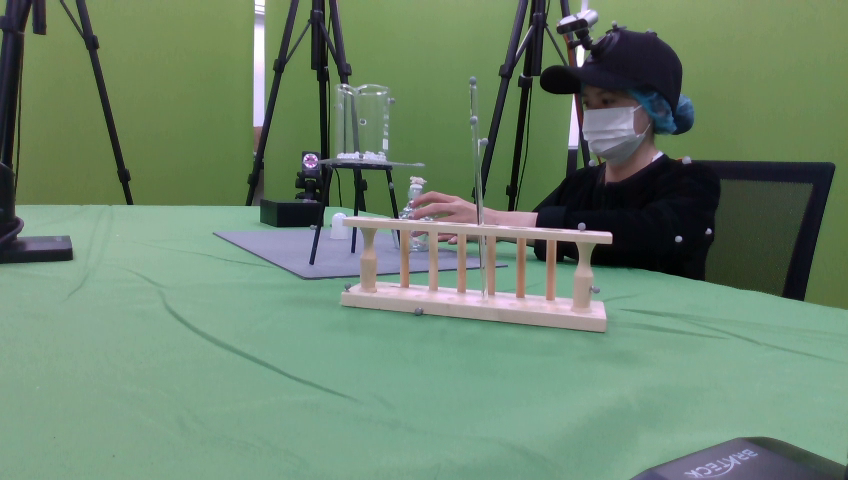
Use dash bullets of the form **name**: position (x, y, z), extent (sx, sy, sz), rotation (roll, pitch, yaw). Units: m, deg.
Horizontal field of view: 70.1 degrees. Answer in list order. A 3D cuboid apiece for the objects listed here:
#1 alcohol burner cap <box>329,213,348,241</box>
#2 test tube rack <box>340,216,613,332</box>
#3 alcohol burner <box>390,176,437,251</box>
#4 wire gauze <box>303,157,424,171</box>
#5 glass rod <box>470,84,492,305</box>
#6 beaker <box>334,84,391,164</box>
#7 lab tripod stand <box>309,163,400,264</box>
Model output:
- **alcohol burner cap**: position (-0.148, -0.024, 1.050), extent (0.034, 0.048, 0.034), rotation (3, 7, 0)
- **test tube rack**: position (0.047, 0.026, 0.568), extent (0.242, 0.085, 0.067), rotation (4, 8, 13)
- **alcohol burner**: position (-0.016, -0.042, 0.955), extent (0.078, 0.119, 0.078), rotation (4, 6, 0)
- **wire gauze**: position (-0.082, -0.101, 0.799), extent (0.126, 0.011, 0.121), rotation (1, 7, -30)
- **glass rod**: position (0.051, -0.036, 0.535), extent (0.008, 0.199, 0.008), rotation (-5, 10, 1)
- **beaker**: position (-0.082, -0.149, 0.792), extent (0.074, 0.100, 0.084), rotation (2, 5, 4)
- **lab tripod stand**: position (-0.091, -0.037, 0.813), extent (0.148, 0.131, 0.148), rotation (1, 6, 0)
